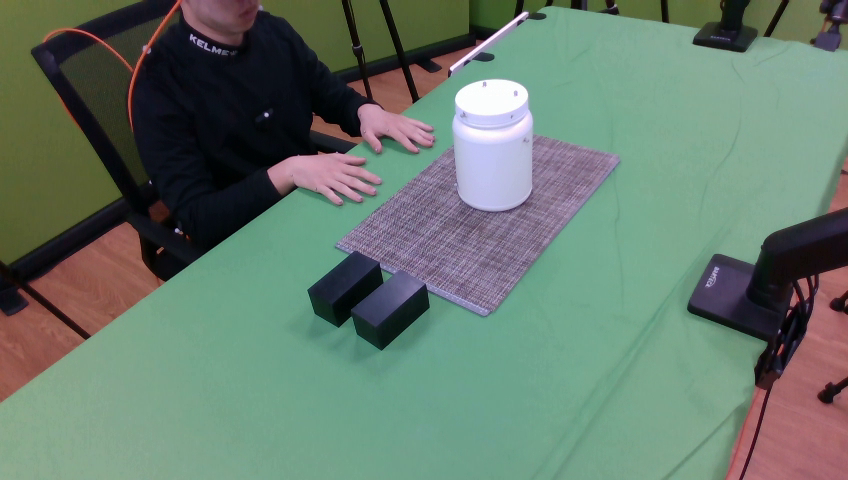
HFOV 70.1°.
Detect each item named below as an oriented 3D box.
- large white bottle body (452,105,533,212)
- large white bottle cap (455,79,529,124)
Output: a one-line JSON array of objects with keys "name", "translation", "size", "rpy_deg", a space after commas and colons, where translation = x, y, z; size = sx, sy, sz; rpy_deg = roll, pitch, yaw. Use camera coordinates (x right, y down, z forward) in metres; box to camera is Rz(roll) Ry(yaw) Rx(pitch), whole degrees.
[{"name": "large white bottle body", "translation": [0.115, -0.155, 1.001], "size": [0.130, 0.185, 0.130], "rpy_deg": [-5, 41, 4]}, {"name": "large white bottle cap", "translation": [0.106, -0.218, 0.945], "size": [0.115, 0.018, 0.114], "rpy_deg": [-4, 41, 4]}]
